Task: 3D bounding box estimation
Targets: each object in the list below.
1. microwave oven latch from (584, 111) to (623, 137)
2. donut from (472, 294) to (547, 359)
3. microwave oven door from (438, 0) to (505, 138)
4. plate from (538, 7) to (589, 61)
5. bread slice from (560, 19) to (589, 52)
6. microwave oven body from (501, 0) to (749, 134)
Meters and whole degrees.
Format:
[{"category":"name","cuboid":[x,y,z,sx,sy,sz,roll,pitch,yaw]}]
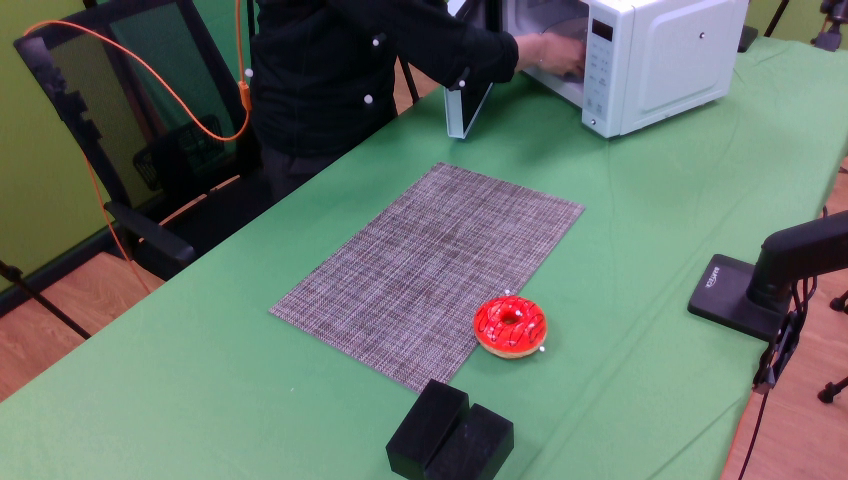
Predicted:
[{"category":"microwave oven latch","cuboid":[0.337,-0.222,1.142,0.030,0.029,0.078,-21,42,-14]},{"category":"donut","cuboid":[0.114,0.114,0.803,0.099,0.048,0.098,0,40,1]},{"category":"microwave oven door","cuboid":[0.106,-0.406,1.232,0.039,0.245,0.355,7,43,18]},{"category":"plate","cuboid":[0.353,-0.443,1.317,0.207,0.039,0.206,-5,44,5]},{"category":"bread slice","cuboid":[0.362,-0.439,1.324,0.104,0.019,0.131,17,59,19]},{"category":"microwave oven body","cuboid":[0.382,-0.444,1.246,0.327,0.261,0.437,-22,42,-16]}]
